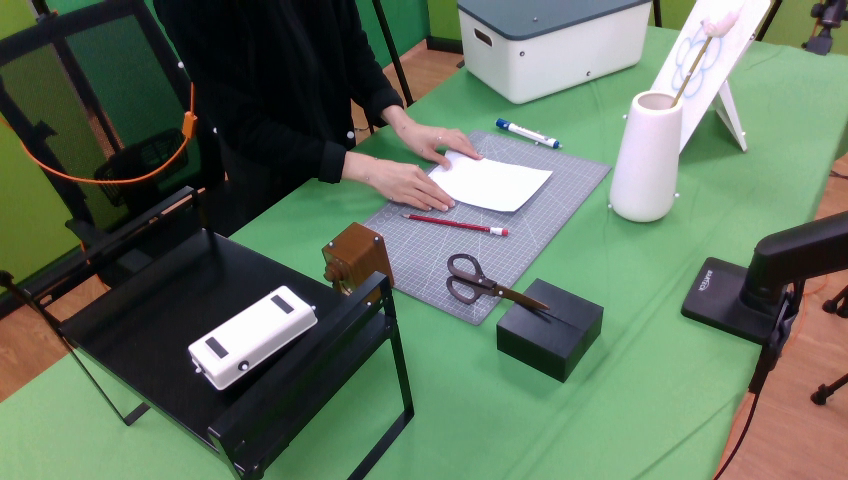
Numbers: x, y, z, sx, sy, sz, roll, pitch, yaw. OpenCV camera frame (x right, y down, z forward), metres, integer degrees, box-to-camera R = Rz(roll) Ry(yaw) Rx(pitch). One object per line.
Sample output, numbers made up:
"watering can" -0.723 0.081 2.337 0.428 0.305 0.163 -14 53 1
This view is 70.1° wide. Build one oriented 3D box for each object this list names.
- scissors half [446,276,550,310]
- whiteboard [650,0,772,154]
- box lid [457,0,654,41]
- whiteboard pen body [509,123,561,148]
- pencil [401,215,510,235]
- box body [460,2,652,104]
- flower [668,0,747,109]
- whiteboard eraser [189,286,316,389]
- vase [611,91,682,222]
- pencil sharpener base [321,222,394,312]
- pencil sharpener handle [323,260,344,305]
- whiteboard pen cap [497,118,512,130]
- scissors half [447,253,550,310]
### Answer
"scissors half" 0.098 0.077 0.827 0.174 0.040 0.013 6 14 44
"whiteboard" 0.543 -0.298 1.076 0.144 0.305 0.216 12 40 -7
"box lid" 0.285 -0.522 1.323 0.373 0.015 0.261 -22 43 -16
"whiteboard pen body" 0.209 -0.211 1.196 0.139 0.017 0.017 30 52 33
"pencil" 0.049 -0.027 1.007 0.193 0.012 0.012 10 43 21
"box body" 0.291 -0.465 1.371 0.365 0.161 0.252 -22 42 -16
"flower" 0.354 -0.187 0.879 0.038 0.362 0.044 30 48 14
"whiteboard eraser" -0.166 0.096 0.593 0.113 0.042 0.055 -36 47 -29
"vase" 0.348 -0.125 0.935 0.098 0.201 0.097 -3 40 3
"pencil sharpener base" -0.096 0.041 0.873 0.061 0.107 0.077 25 54 32
"pencil sharpener handle" -0.131 0.062 0.839 0.035 0.068 0.031 29 56 28
"whiteboard pen cap" 0.165 -0.235 1.227 0.033 0.018 0.018 30 53 31
"scissors half" 0.098 0.058 0.821 0.173 0.040 0.013 27 33 37
